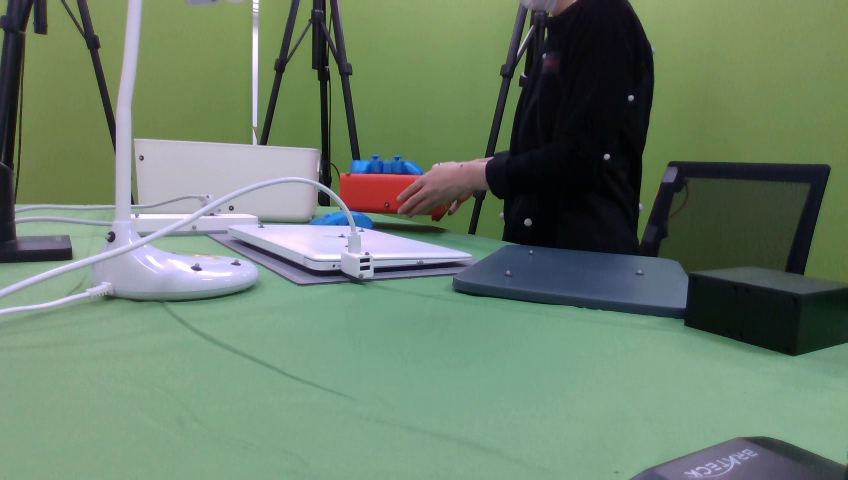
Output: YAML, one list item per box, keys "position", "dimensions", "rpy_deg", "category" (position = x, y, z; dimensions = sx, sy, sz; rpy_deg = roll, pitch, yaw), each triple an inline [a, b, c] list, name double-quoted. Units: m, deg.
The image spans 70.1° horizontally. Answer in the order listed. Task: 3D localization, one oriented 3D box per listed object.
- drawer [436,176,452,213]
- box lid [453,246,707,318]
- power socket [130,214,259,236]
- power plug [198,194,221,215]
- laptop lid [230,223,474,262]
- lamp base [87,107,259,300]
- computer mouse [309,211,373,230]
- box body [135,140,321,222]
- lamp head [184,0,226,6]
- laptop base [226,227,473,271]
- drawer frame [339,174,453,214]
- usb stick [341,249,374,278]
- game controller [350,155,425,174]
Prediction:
- position: [-0.049, -0.102, 1.292]
  dimensions: [0.212, 0.073, 0.194]
  rpy_deg: [2, 8, 7]
  category: "drawer"
- position: [0.204, 0.044, 0.780]
  dimensions: [0.262, 0.015, 0.372]
  rpy_deg: [5, 7, 17]
  category: "box lid"
- position: [-0.397, -0.028, 1.048]
  dimensions: [0.228, 0.032, 0.072]
  rpy_deg: [-3, 7, -35]
  category: "power socket"
- position: [-0.386, -0.056, 1.088]
  dimensions: [0.035, 0.052, 0.072]
  rpy_deg: [-1, 7, -24]
  category: "power plug"
- position: [-0.121, 0.000, 0.888]
  dimensions: [0.243, 0.013, 0.355]
  rpy_deg: [1, 7, -33]
  category: "laptop lid"
- position: [-0.254, -0.039, 0.603]
  dimensions: [0.160, 0.180, 0.179]
  rpy_deg: [5, 10, 18]
  category: "lamp base"
- position: [-0.157, -0.033, 1.139]
  dimensions: [0.118, 0.041, 0.062]
  rpy_deg: [-5, 11, -28]
  category: "computer mouse"
- position: [-0.420, -0.133, 1.354]
  dimensions: [0.365, 0.160, 0.253]
  rpy_deg: [2, 7, -8]
  category: "box body"
- position: [-0.229, -0.320, 0.627]
  dimensions: [0.112, 0.112, 0.123]
  rpy_deg: [6, -36, 26]
  category: "lamp head"
- position: [-0.124, 0.011, 0.888]
  dimensions: [0.237, 0.023, 0.352]
  rpy_deg: [2, 6, -35]
  category: "laptop base"
- position: [-0.052, -0.102, 1.292]
  dimensions: [0.213, 0.082, 0.202]
  rpy_deg: [1, 6, 7]
  category: "drawer frame"
- position: [-0.079, 0.026, 0.686]
  dimensions: [0.021, 0.027, 0.059]
  rpy_deg: [-7, 9, -31]
  category: "usb stick"
- position: [-0.082, -0.153, 1.285]
  dimensions: [0.156, 0.051, 0.097]
  rpy_deg: [0, 0, -18]
  category: "game controller"
